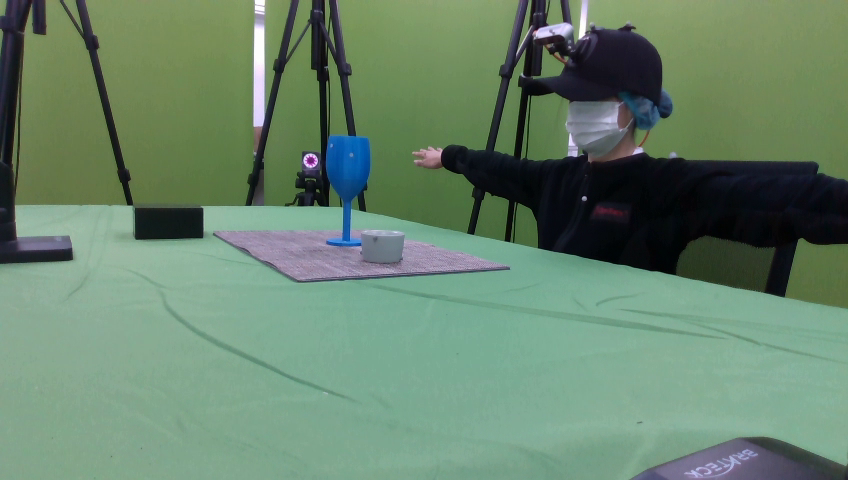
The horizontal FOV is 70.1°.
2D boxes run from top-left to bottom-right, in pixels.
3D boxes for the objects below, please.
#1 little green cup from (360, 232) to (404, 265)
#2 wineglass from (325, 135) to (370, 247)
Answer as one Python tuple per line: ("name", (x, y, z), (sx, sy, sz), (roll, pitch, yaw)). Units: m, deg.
("little green cup", (-0.058, 0.011, 0.821), (0.061, 0.038, 0.061), (2, 8, 0))
("wineglass", (-0.123, -0.078, 0.964), (0.074, 0.172, 0.073), (3, 7, 0))
